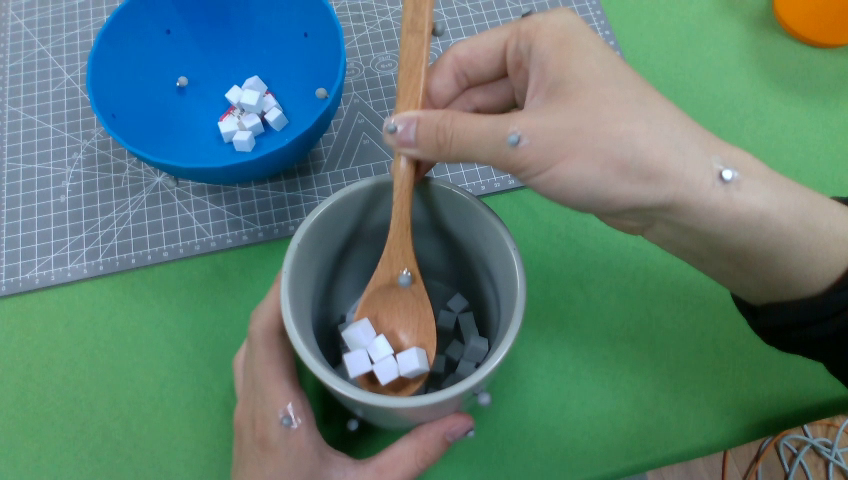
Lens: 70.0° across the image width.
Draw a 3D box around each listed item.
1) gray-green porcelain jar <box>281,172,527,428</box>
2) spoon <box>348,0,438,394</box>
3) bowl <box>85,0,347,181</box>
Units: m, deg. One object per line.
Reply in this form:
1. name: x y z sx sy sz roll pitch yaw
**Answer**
1. gray-green porcelain jar: -0.008 0.040 0.313 0.106 0.127 0.105 0 68 0
2. spoon: -0.008 -0.025 0.264 0.041 0.021 0.194 7 103 9
3. bowl: -0.120 -0.094 0.388 0.151 0.077 0.150 0 68 0
